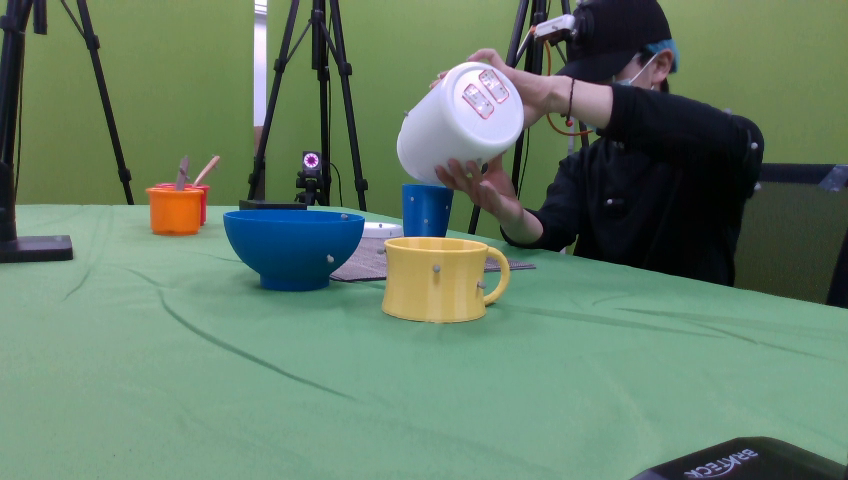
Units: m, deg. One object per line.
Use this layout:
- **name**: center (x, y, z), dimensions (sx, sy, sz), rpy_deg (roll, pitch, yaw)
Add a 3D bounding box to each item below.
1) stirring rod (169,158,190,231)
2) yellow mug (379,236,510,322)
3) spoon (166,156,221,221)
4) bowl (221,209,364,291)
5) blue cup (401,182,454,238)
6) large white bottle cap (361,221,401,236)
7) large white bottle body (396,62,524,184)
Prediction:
- **stirring rod**: center (-0.427, -0.083, 1.059), dimensions (0.014, 0.006, 0.175), rpy_deg (2, 49, -13)
- **yellow mug**: center (0.024, 0.034, 0.575), dimensions (0.131, 0.064, 0.099), rpy_deg (1, 7, -22)
- **spoon**: center (-0.447, -0.104, 1.192), dimensions (0.041, 0.022, 0.193), rpy_deg (7, 52, 14)
- **bowl**: center (-0.142, 0.011, 0.660), dimensions (0.151, 0.077, 0.151), rpy_deg (2, 7, 0)
- **blue cup**: center (0.002, -0.039, 0.966), dimensions (0.093, 0.100, 0.092), rpy_deg (3, 9, 0)
- **large white bottle cap**: center (-0.099, -0.021, 1.123), dimensions (0.115, 0.018, 0.115), rpy_deg (2, 7, 0)
- **large white bottle body**: center (0.044, -0.161, 0.887), dimensions (0.131, 0.130, 0.184), rpy_deg (-1, -13, -27)
